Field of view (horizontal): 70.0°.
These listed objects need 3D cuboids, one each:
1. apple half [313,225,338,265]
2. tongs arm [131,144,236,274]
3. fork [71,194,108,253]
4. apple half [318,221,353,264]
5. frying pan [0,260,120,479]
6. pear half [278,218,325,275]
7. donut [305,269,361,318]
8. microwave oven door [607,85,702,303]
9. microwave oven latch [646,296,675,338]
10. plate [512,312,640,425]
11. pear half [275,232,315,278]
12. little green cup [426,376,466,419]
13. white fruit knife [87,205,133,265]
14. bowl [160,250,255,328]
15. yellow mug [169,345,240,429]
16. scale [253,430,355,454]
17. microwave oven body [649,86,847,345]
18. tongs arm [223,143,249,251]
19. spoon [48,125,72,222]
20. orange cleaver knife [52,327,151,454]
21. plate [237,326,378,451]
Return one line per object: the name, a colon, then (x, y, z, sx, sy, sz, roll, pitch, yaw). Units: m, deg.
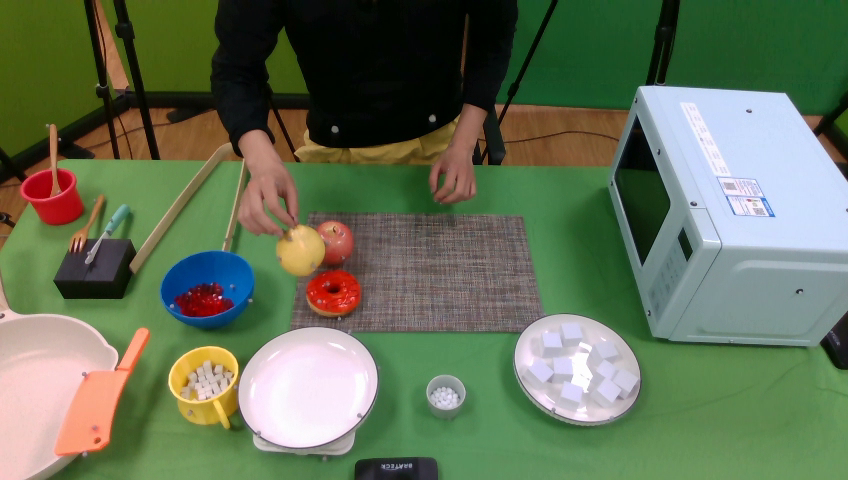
apple half: (-0.193, 0.017, 1.125, 0.033, 0.081, 0.081, -26, 53, -30)
tongs arm: (-0.483, -0.077, 1.236, 0.028, 0.028, 0.385, 6, 45, 13)
fork: (-0.634, -0.035, 1.158, 0.028, 0.019, 0.206, -8, 32, -8)
apple half: (-0.162, 0.001, 1.145, 0.053, 0.075, 0.080, -25, 50, -29)
frying pan: (-0.647, 0.164, 0.936, 0.307, 0.103, 0.485, -19, 58, -22)
pear half: (-0.194, -0.001, 0.967, 0.076, 0.110, 0.056, 16, 47, 14)
donut: (-0.160, 0.095, 1.075, 0.099, 0.048, 0.098, 3, 45, -3)
microwave oven door: (0.423, -0.094, 1.140, 0.039, 0.245, 0.353, 2, 46, -1)
microwave oven latch: (0.412, 0.134, 1.061, 0.030, 0.029, 0.078, 4, 45, 1)
plate: (0.246, 0.213, 0.999, 0.208, 0.039, 0.206, 2, 46, -2)
pear half: (-0.208, 0.029, 0.950, 0.070, 0.088, 0.031, 14, 45, 14)
little green cup: (0.033, 0.248, 0.950, 0.061, 0.039, 0.061, 2, 46, -2)
white fruit knife: (-0.584, -0.013, 1.129, 0.016, 0.027, 0.206, -1, 31, -4)
bowl: (-0.362, 0.098, 1.040, 0.151, 0.077, 0.150, 2, 45, -2)
yellow mug: (-0.323, 0.230, 0.922, 0.100, 0.064, 0.130, -24, 53, -25)
scale: (-0.175, 0.236, 0.951, 0.149, 0.032, 0.199, 4, 45, 0)
microwave oven body: (0.567, -0.053, 1.118, 0.326, 0.261, 0.439, 2, 45, -1)
tongs arm: (-0.397, -0.073, 1.232, 0.051, 0.027, 0.382, -3, 45, 1)
spoon: (-0.718, -0.131, 1.189, 0.041, 0.021, 0.193, -3, 90, -7)
orange cleaver knife: (-0.462, 0.212, 0.879, 0.077, 0.012, 0.210, 6, 45, -1)
plate: (-0.174, 0.224, 0.917, 0.209, 0.038, 0.208, 2, 46, -2)
